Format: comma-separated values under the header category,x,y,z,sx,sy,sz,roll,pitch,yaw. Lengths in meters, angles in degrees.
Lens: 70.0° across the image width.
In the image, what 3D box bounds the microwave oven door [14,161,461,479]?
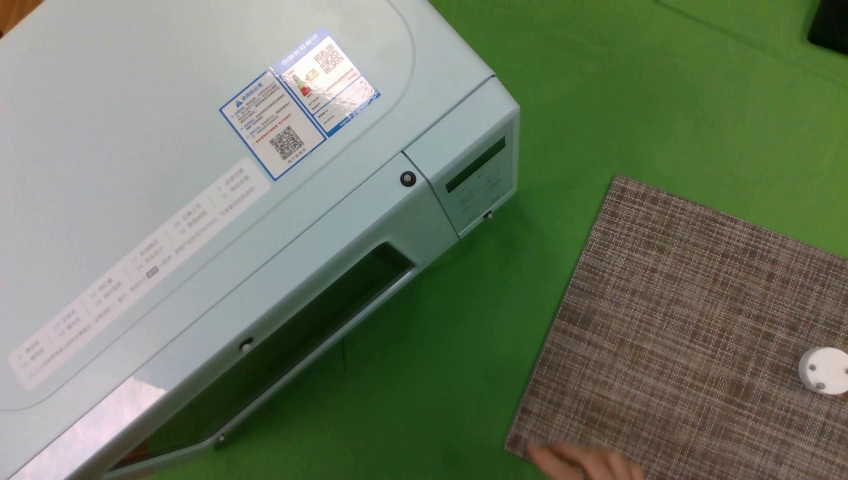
category,x,y,z,sx,sy,sz,roll,pitch,yaw
microwave oven door,-0.125,0.082,0.512,0.356,0.245,0.039,-40,77,1

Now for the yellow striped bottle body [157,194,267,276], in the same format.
category,x,y,z,sx,sy,sz,roll,pitch,yaw
yellow striped bottle body,-0.192,-0.004,0.546,0.063,0.120,0.062,-1,81,5

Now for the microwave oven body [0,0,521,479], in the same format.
category,x,y,z,sx,sy,sz,roll,pitch,yaw
microwave oven body,-0.183,-0.054,0.545,0.441,0.261,0.324,-40,79,1

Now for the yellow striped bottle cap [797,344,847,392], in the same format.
category,x,y,z,sx,sy,sz,roll,pitch,yaw
yellow striped bottle cap,0.376,0.120,0.566,0.044,0.019,0.044,-1,82,9

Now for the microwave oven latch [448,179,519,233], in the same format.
category,x,y,z,sx,sy,sz,roll,pitch,yaw
microwave oven latch,0.059,-0.042,0.608,0.079,0.029,0.030,-38,79,2
